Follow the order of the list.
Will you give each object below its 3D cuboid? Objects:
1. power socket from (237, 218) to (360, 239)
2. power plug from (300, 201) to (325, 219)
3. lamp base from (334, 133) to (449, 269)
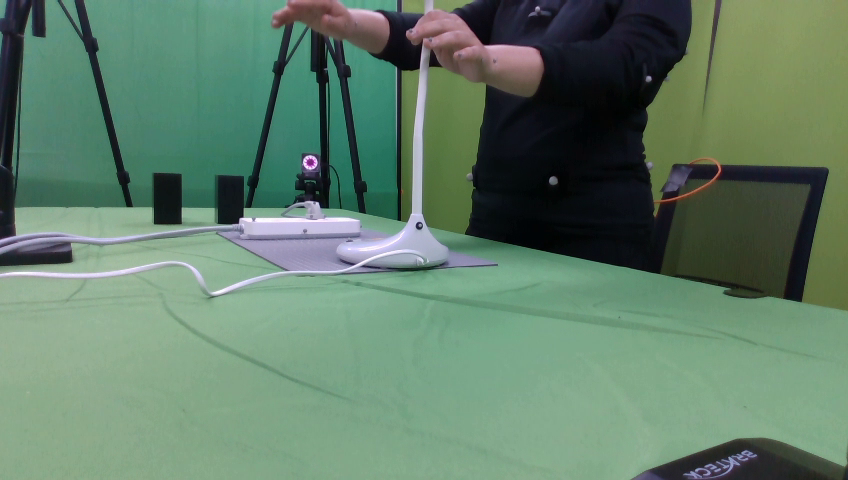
[{"bbox_3d":[-0.220,-0.023,1.080,0.228,0.032,0.072,-2,7,-33],"label":"power socket"},{"bbox_3d":[-0.207,-0.046,1.120,0.035,0.052,0.072,1,4,-21],"label":"power plug"},{"bbox_3d":[-0.034,-0.057,0.830,0.161,0.180,0.178,-3,12,-36],"label":"lamp base"}]
